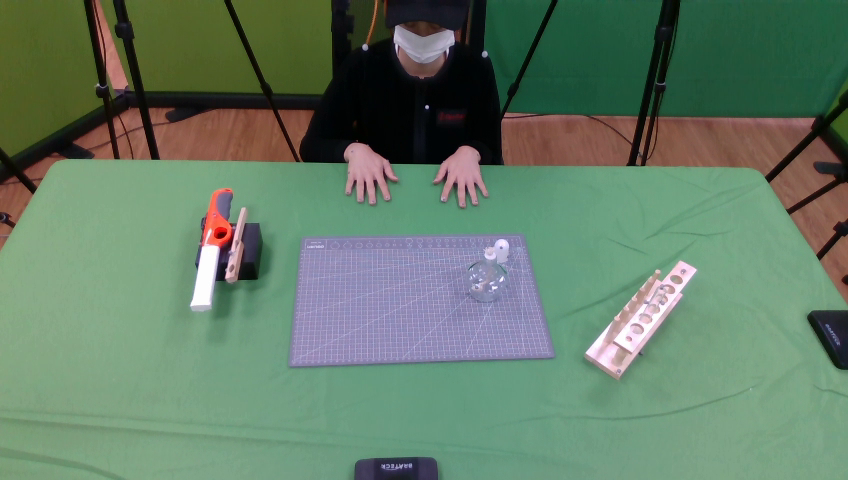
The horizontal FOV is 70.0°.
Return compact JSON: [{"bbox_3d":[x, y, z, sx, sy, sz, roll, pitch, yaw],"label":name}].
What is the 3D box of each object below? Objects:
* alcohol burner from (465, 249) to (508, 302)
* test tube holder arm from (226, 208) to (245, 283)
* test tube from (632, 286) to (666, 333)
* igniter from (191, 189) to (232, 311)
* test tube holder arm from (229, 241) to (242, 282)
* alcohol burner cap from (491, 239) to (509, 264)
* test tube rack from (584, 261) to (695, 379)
[{"bbox_3d":[0.114,0.057,1.085,0.078,0.120,0.077,2,48,-2],"label":"alcohol burner"},{"bbox_3d":[-0.342,0.006,1.101,0.013,0.015,0.177,-7,47,-2],"label":"test tube holder arm"},{"bbox_3d":[0.363,0.125,0.993,0.017,0.151,0.017,2,49,-2],"label":"test tube"},{"bbox_3d":[-0.381,0.008,1.092,0.057,0.025,0.274,-1,50,-6],"label":"igniter"},{"bbox_3d":[-0.332,0.038,1.070,0.010,0.015,0.087,-6,47,-1],"label":"test tube holder arm"},{"bbox_3d":[0.150,0.020,1.174,0.034,0.048,0.033,2,46,-2],"label":"alcohol burner cap"},{"bbox_3d":[0.380,0.127,1.062,0.066,0.085,0.242,34,53,26],"label":"test tube rack"}]
